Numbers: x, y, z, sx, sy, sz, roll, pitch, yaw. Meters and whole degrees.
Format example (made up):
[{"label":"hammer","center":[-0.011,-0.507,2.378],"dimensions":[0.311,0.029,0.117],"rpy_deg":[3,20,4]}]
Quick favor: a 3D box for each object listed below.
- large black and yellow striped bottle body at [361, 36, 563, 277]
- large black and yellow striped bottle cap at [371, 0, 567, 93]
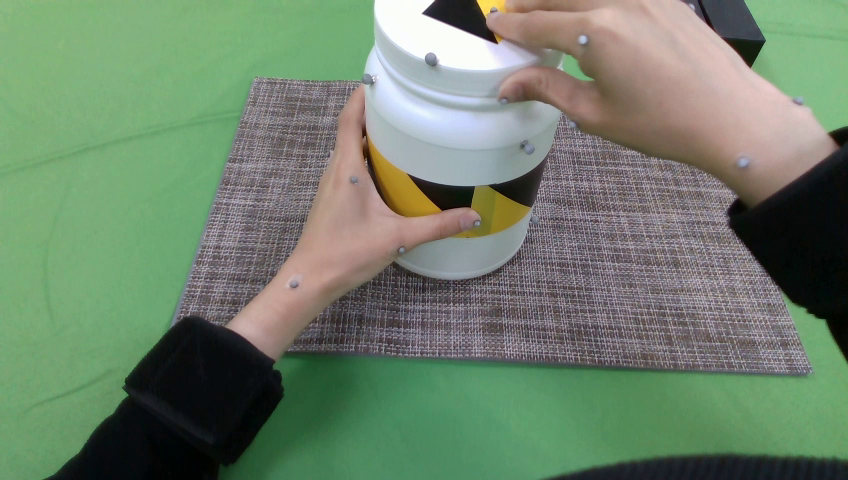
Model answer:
[{"label":"large black and yellow striped bottle body","center":[0.022,-0.076,0.424],"dimensions":[0.131,0.185,0.129],"rpy_deg":[2,51,-2]},{"label":"large black and yellow striped bottle cap","center":[0.026,-0.131,0.356],"dimensions":[0.115,0.019,0.114],"rpy_deg":[2,55,-3]}]
